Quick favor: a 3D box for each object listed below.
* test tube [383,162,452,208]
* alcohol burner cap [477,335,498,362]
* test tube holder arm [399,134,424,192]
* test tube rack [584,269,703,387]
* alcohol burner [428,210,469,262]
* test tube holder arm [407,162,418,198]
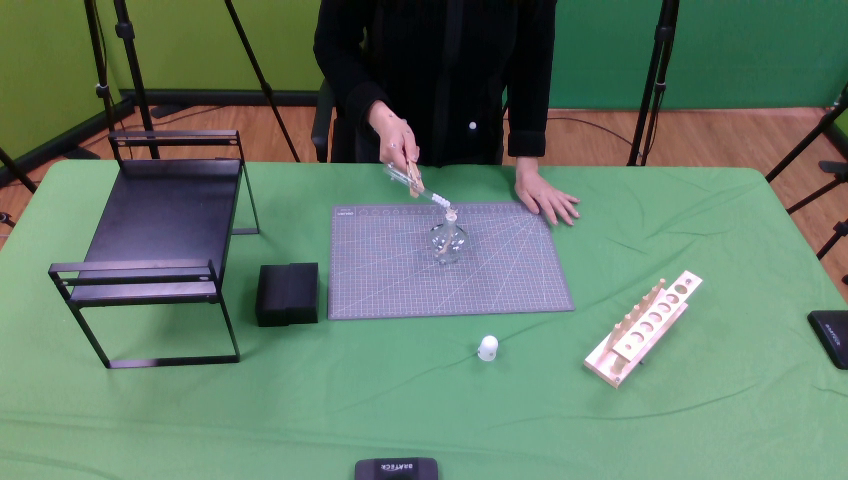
[{"bbox_3d":[-0.009,-0.093,1.047,0.151,0.017,0.017,28,37,-31],"label":"test tube"},{"bbox_3d":[0.108,0.180,1.017,0.034,0.048,0.033,3,51,-4],"label":"alcohol burner cap"},{"bbox_3d":[-0.024,-0.142,1.092,0.015,0.013,0.177,30,28,-33],"label":"test tube holder arm"},{"bbox_3d":[0.381,0.139,1.045,0.066,0.085,0.242,37,54,28],"label":"test tube rack"},{"bbox_3d":[0.048,-0.014,1.146,0.078,0.119,0.077,3,48,-3],"label":"alcohol burner"},{"bbox_3d":[-0.021,-0.108,1.062,0.015,0.010,0.087,29,37,-32],"label":"test tube holder arm"}]
